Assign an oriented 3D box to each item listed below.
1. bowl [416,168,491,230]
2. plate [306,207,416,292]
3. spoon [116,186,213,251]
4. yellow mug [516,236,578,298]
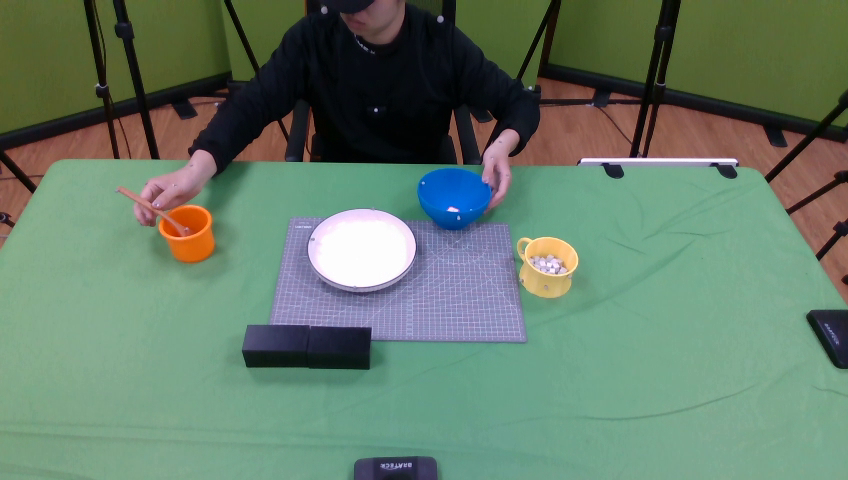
[{"bbox_3d":[0.057,-0.073,1.231,0.151,0.077,0.150,3,41,-2],"label":"bowl"},{"bbox_3d":[-0.119,0.021,1.153,0.209,0.038,0.208,2,46,-2],"label":"plate"},{"bbox_3d":[-0.474,-0.040,1.112,0.021,0.195,0.041,-30,32,30],"label":"spoon"},{"bbox_3d":[0.223,0.041,1.145,0.100,0.064,0.130,-30,55,-29],"label":"yellow mug"}]
